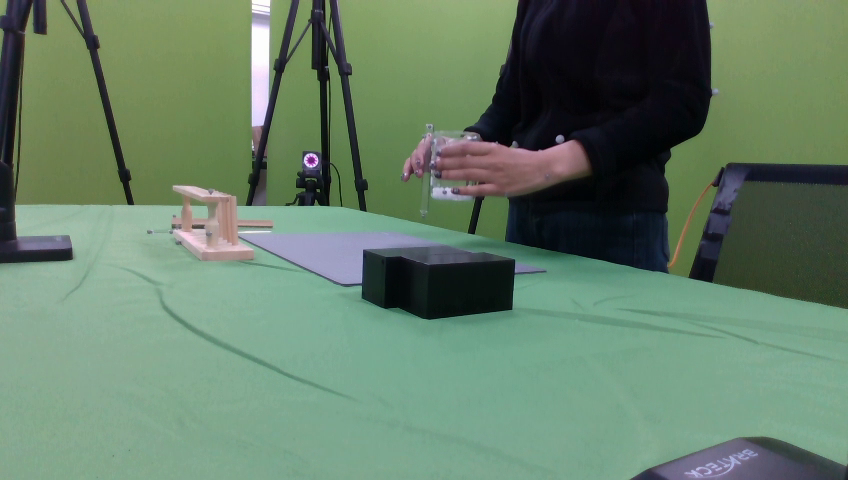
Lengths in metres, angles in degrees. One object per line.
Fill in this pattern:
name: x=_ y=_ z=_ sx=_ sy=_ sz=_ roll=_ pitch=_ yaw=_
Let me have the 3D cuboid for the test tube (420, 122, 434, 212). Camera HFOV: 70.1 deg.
test tube: x=0.005 y=-0.121 z=1.007 sx=0.017 sy=0.150 sz=0.017 roll=4 pitch=7 yaw=0

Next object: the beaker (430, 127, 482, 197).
beaker: x=0.045 y=-0.115 z=0.907 sx=0.074 sy=0.100 sz=0.083 roll=1 pitch=3 yaw=-18

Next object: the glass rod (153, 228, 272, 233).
glass rod: x=-0.368 y=-0.017 z=1.065 sx=0.201 sy=0.008 sz=0.008 roll=-2 pitch=8 yaw=-27

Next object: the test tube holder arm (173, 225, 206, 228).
test tube holder arm: x=-0.414 y=-0.030 z=1.113 sx=0.088 sy=0.015 sz=0.010 roll=-1 pitch=-21 yaw=-25

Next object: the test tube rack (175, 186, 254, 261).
test tube rack: x=-0.314 y=-0.031 z=0.889 sx=0.067 sy=0.085 sz=0.241 roll=-2 pitch=8 yaw=-30

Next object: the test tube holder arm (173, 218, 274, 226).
test tube holder arm: x=-0.371 y=-0.033 z=1.128 sx=0.179 sy=0.015 sz=0.013 roll=-1 pitch=-21 yaw=-25
